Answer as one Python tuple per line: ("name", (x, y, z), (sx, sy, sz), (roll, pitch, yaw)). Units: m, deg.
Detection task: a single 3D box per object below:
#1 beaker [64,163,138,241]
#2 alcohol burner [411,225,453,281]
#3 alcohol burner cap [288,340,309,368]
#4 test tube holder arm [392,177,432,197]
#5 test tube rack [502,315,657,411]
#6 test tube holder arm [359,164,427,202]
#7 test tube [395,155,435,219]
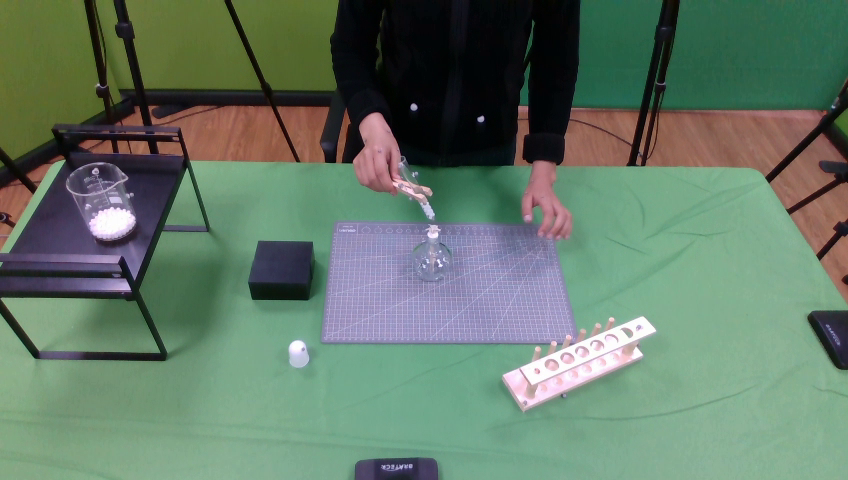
("beaker", (-0.477, -0.055, 0.910), (0.084, 0.101, 0.073), (-9, 47, -13))
("alcohol burner", (0.015, 0.018, 1.110), (0.078, 0.120, 0.077), (1, 45, -1))
("alcohol burner cap", (-0.207, 0.183, 0.991), (0.034, 0.048, 0.033), (2, 47, -2))
("test tube holder arm", (-0.023, -0.089, 1.011), (0.087, 0.015, 0.010), (20, 63, 39))
("test tube rack", (0.253, 0.186, 0.988), (0.242, 0.085, 0.066), (-18, 50, -20))
("test tube holder arm", (-0.057, -0.100, 1.039), (0.177, 0.015, 0.013), (28, 67, 42))
("test tube", (-0.012, -0.084, 0.989), (0.017, 0.151, 0.017), (-13, 50, 16))
